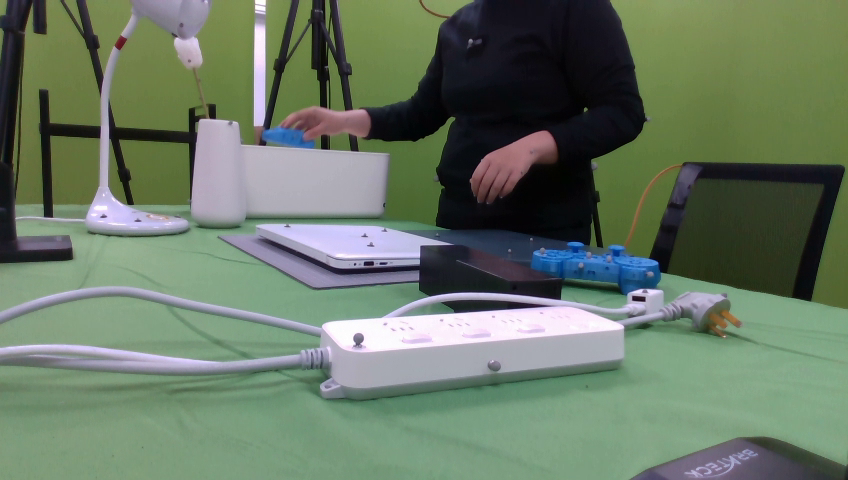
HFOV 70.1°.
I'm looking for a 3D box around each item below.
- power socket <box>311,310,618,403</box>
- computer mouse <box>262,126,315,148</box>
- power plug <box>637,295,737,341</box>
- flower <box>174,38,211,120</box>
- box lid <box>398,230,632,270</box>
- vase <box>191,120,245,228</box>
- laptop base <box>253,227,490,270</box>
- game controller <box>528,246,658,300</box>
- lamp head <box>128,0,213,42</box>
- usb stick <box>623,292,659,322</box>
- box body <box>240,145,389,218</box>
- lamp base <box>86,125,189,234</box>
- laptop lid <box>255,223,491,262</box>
[{"bbox_3d":[0.034,0.074,0.415,0.228,0.032,0.072,-1,7,-24],"label":"power socket"},{"bbox_3d":[-0.311,-0.239,1.391,0.118,0.041,0.062,7,6,-27],"label":"computer mouse"},{"bbox_3d":[0.235,0.077,0.535,0.072,0.035,0.052,-33,40,-5],"label":"power plug"},{"bbox_3d":[-0.401,-0.207,1.141,0.038,0.361,0.044,-14,3,44],"label":"flower"},{"bbox_3d":[0.140,0.012,1.045,0.265,0.015,0.369,-1,9,-32],"label":"box lid"},{"bbox_3d":[-0.389,-0.124,1.142,0.098,0.200,0.098,3,9,0],"label":"vase"},{"bbox_3d":[-0.096,0.012,0.911,0.237,0.023,0.352,3,6,-32],"label":"laptop base"},{"bbox_3d":[0.202,0.036,0.733,0.155,0.051,0.097,5,10,20],"label":"game controller"},{"bbox_3d":[-0.423,-0.394,0.980,0.123,0.112,0.112,20,7,-3],"label":"lamp head"},{"bbox_3d":[0.211,0.064,0.581,0.021,0.027,0.059,-2,-3,36],"label":"usb stick"},{"bbox_3d":[-0.297,-0.143,1.474,0.366,0.160,0.253,-1,9,-30],"label":"box body"},{"bbox_3d":[-0.497,-0.105,1.027,0.179,0.180,0.160,1,7,2],"label":"lamp base"},{"bbox_3d":[-0.093,0.000,0.911,0.243,0.013,0.355,1,7,-30],"label":"laptop lid"}]
